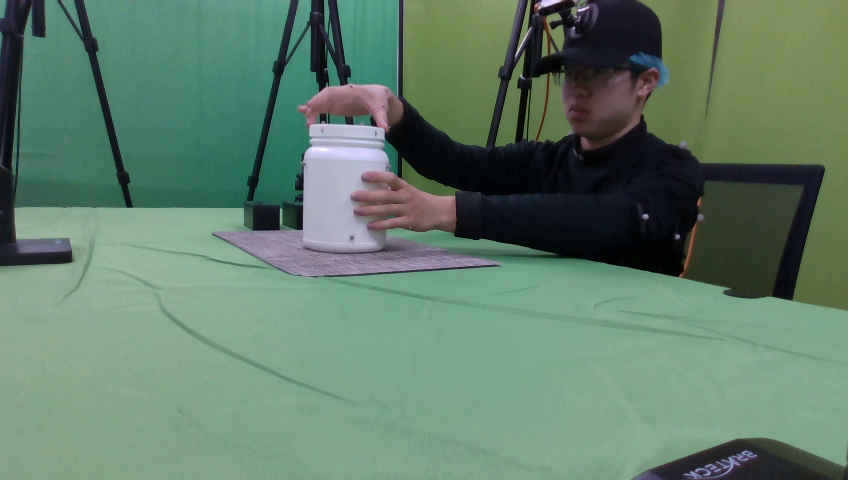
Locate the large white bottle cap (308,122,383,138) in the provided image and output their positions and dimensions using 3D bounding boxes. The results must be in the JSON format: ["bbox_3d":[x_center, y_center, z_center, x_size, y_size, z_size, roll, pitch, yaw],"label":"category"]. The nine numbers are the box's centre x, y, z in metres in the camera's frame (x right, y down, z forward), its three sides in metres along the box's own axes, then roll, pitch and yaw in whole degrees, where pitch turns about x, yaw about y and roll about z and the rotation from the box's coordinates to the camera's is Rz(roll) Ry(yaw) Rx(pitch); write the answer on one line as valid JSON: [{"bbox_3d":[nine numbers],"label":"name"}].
[{"bbox_3d":[-0.119,-0.167,0.926,0.115,0.018,0.115,2,6,0],"label":"large white bottle cap"}]

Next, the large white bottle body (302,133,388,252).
[{"bbox_3d":[-0.122,-0.080,0.937,0.131,0.184,0.130,2,7,0],"label":"large white bottle body"}]
